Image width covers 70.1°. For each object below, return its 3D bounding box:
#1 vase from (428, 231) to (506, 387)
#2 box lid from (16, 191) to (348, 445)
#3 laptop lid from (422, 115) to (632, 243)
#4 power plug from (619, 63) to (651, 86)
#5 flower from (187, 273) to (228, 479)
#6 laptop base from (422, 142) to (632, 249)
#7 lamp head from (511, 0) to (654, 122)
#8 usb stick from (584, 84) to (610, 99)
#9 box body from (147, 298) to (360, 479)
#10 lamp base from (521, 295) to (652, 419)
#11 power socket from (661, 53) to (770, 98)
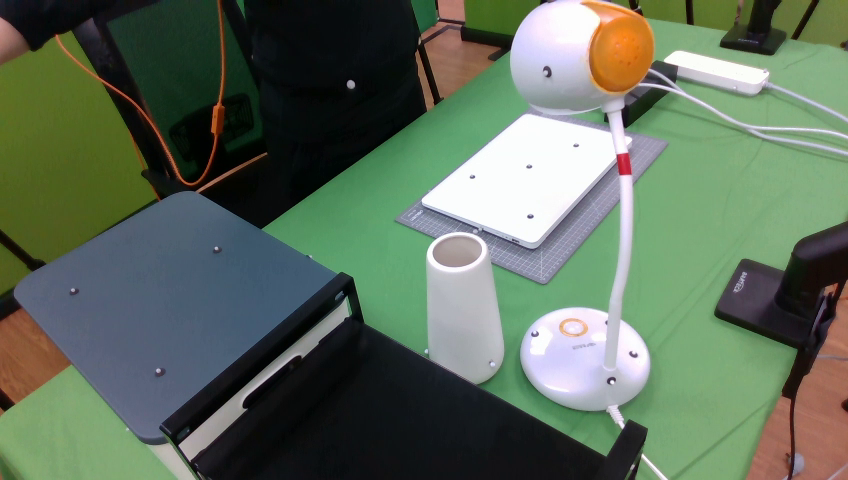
[{"bbox_3d":[0.050,0.087,0.728,0.098,0.201,0.097,-3,40,3],"label":"vase"},{"bbox_3d":[-0.295,0.062,0.723,0.368,0.015,0.264,26,51,34],"label":"box lid"},{"bbox_3d":[0.189,-0.126,1.081,0.239,0.013,0.358,23,48,35],"label":"laptop lid"},{"bbox_3d":[0.435,-0.342,1.265,0.035,0.053,0.072,6,29,-14],"label":"power plug"},{"bbox_3d":[-0.282,0.161,0.819,0.044,0.038,0.359,9,34,-21],"label":"flower"},{"bbox_3d":[0.192,-0.117,1.087,0.233,0.023,0.355,21,47,34],"label":"laptop base"},{"bbox_3d":[0.155,-0.168,0.563,0.113,0.113,0.122,-18,23,-12],"label":"lamp head"},{"bbox_3d":[0.353,-0.306,1.252,0.027,0.021,0.058,-1,0,-40],"label":"usb stick"},{"bbox_3d":[-0.288,0.118,0.772,0.361,0.161,0.255,26,50,33],"label":"box body"},{"bbox_3d":[0.201,0.095,0.710,0.161,0.181,0.178,-16,43,-10],"label":"lamp base"},{"bbox_3d":[0.617,-0.355,1.292,0.225,0.033,0.072,29,53,35],"label":"power socket"}]
